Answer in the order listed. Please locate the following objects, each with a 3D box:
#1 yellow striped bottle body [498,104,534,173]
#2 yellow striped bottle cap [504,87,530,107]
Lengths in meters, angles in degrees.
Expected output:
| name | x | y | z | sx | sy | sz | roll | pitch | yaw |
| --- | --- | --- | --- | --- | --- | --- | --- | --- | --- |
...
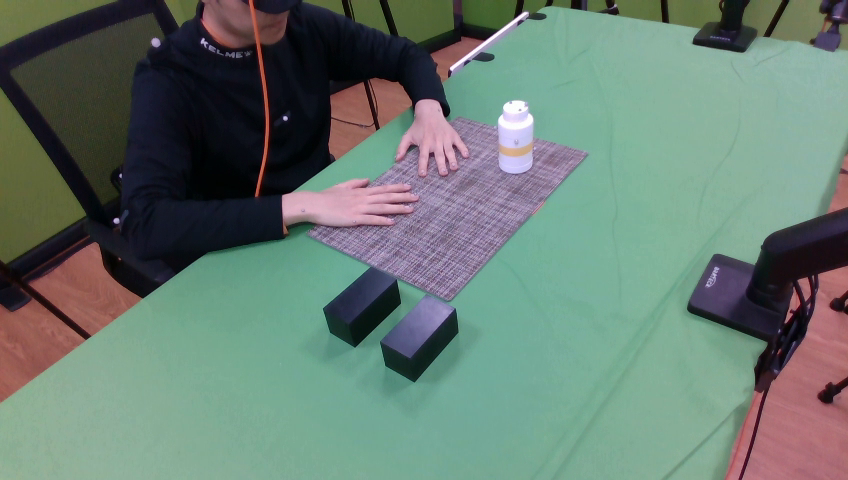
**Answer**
| name | x | y | z | sx | sy | sz | roll | pitch | yaw |
| --- | --- | --- | --- | --- | --- | --- | --- | --- | --- |
| yellow striped bottle body | 0.164 | -0.186 | 1.079 | 0.063 | 0.121 | 0.062 | -4 | 41 | 4 |
| yellow striped bottle cap | 0.159 | -0.244 | 1.034 | 0.044 | 0.019 | 0.044 | -7 | 34 | 5 |
